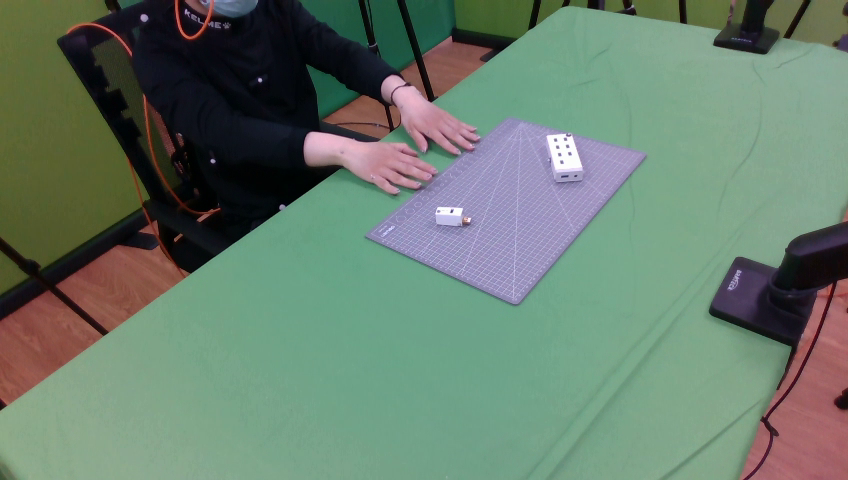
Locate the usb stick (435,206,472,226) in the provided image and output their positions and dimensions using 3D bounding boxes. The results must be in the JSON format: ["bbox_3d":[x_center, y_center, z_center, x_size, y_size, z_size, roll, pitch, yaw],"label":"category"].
[{"bbox_3d":[0.050,-0.039,0.999,0.059,0.027,0.021,7,41,12],"label":"usb stick"}]

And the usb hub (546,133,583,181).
[{"bbox_3d":[0.256,-0.152,1.103,0.049,0.025,0.124,-3,41,4],"label":"usb hub"}]
